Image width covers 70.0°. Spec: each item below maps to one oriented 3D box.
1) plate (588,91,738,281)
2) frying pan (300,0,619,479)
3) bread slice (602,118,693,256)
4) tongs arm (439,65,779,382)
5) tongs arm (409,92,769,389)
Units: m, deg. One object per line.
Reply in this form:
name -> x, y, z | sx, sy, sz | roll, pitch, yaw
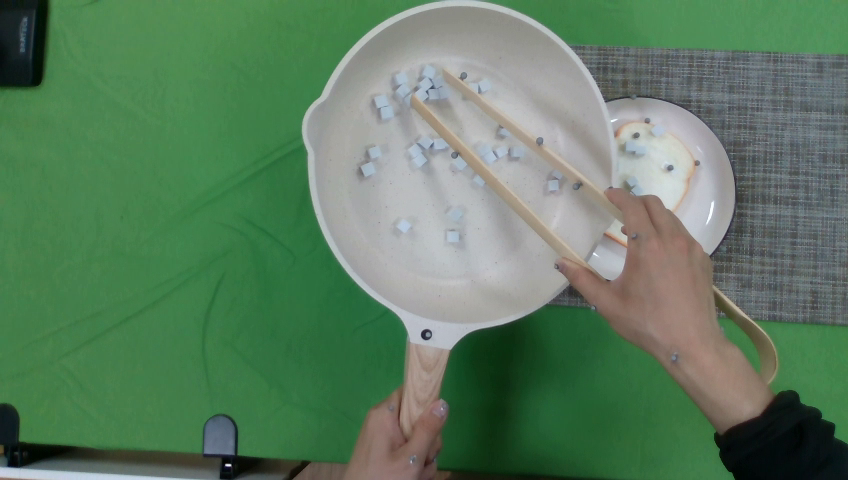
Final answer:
plate -> 0.232, -0.058, 0.668 | 0.207, 0.039, 0.207 | 0, 86, 5
frying pan -> 0.015, 0.034, 0.558 | 0.308, 0.102, 0.486 | 14, 83, -15
bread slice -> 0.230, -0.066, 0.671 | 0.107, 0.018, 0.134 | 27, 91, 5
tongs arm -> 0.145, -0.023, 0.529 | 0.383, 0.026, 0.050 | 40, 80, 11
tongs arm -> 0.126, -0.005, 0.525 | 0.386, 0.028, 0.028 | 43, 77, 12
